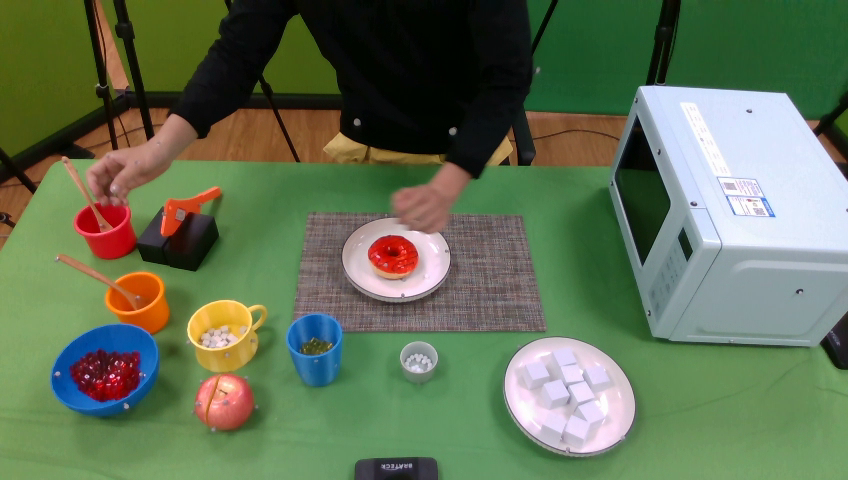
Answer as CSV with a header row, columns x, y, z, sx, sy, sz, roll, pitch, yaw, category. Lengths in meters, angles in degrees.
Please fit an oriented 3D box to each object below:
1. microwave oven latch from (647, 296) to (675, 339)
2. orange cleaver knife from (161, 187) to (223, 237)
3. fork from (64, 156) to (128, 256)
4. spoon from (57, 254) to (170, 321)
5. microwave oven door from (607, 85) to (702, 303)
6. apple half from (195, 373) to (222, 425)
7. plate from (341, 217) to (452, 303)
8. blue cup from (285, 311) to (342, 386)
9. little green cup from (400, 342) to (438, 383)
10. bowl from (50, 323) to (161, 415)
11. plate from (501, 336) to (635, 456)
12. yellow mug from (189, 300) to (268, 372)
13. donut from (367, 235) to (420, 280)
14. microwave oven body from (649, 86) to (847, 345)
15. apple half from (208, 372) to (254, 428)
x,y,z,sx,sy,sz,roll,pitch,yaw,category
0.413,0.134,1.061,0.030,0.029,0.078,5,45,2,microwave oven latch
-0.448,-0.058,1.180,0.012,0.077,0.211,13,17,6,orange cleaver knife
-0.614,-0.064,1.130,0.028,0.018,0.207,-30,97,-17,fork
-0.509,0.076,1.000,0.021,0.195,0.041,-27,35,34,spoon
0.423,-0.094,1.140,0.039,0.245,0.353,2,46,-1,microwave oven door
-0.323,0.240,0.907,0.033,0.081,0.081,5,46,2,apple half
-0.052,0.039,1.140,0.209,0.038,0.208,2,46,-2,plate
-0.170,0.180,0.958,0.093,0.101,0.092,2,44,-1,blue cup
-0.010,0.202,0.991,0.061,0.039,0.061,2,47,-2,little green cup
-0.472,0.209,0.924,0.151,0.077,0.150,3,45,-2,bowl
0.225,0.248,0.963,0.208,0.039,0.206,2,46,-2,plate
-0.315,0.149,1.001,0.131,0.064,0.099,-32,55,-31,yellow mug
-0.056,0.032,1.131,0.099,0.048,0.098,3,45,-3,donut
0.568,-0.053,1.118,0.326,0.261,0.439,2,45,-1,microwave oven body
-0.282,0.244,0.908,0.053,0.075,0.080,7,42,-1,apple half
